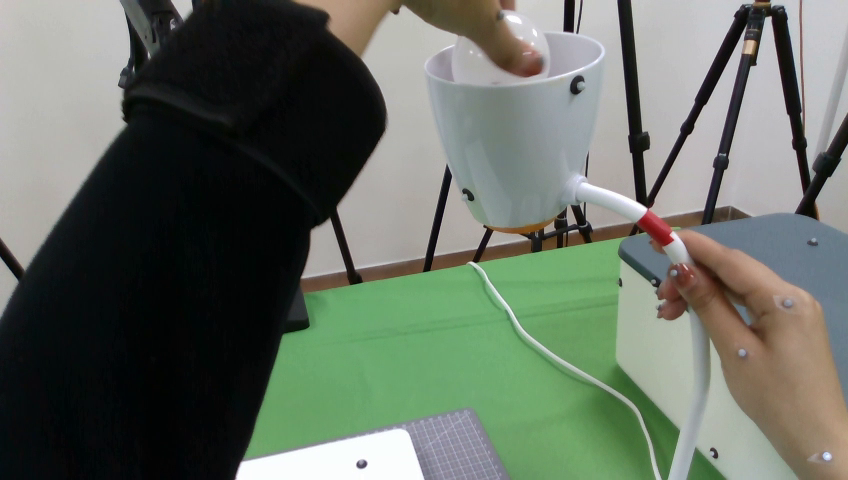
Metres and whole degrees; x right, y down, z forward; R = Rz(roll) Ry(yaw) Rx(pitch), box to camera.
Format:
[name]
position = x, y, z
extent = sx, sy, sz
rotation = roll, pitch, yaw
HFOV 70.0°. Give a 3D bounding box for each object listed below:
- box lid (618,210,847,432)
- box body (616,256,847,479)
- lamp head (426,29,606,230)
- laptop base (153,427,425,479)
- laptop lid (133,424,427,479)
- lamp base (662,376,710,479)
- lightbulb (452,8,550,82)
[box lid]
position = 0.382, 0.058, 0.557
extent = 0.264, 0.015, 0.367
rotation = -9, 27, -15
[box body]
position = 0.385, 0.126, 0.589
extent = 0.255, 0.161, 0.360
rotation = -9, 27, -15
[lamp head]
position = 0.066, -0.068, 0.402
extent = 0.112, 0.124, 0.111
rotation = -10, 29, 6
[laptop base]
position = -0.157, 0.273, 0.490
extent = 0.355, 0.023, 0.233
rotation = -8, 30, -13
[laptop lid]
position = -0.157, 0.263, 0.483
extent = 0.357, 0.013, 0.239
rotation = -8, 29, -11
[lamp base]
position = 0.172, 0.198, 0.435
extent = 0.160, 0.181, 0.179
rotation = 10, 26, 20
[lightbulb]
position = 0.052, -0.092, 0.387
extent = 0.059, 0.109, 0.059
rotation = -10, 36, 8
